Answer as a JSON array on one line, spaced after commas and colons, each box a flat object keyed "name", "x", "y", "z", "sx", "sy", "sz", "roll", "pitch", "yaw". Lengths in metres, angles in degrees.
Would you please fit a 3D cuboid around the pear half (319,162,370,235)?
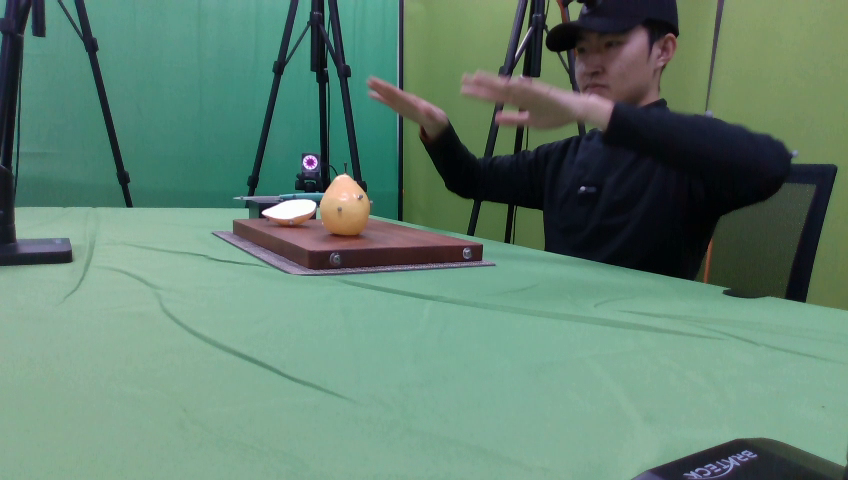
[{"name": "pear half", "x": -0.111, "y": -0.061, "z": 0.894, "sx": 0.055, "sy": 0.110, "sz": 0.077, "roll": 8, "pitch": 13, "yaw": 40}]

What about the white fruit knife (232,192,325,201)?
[{"name": "white fruit knife", "x": -0.302, "y": -0.090, "z": 1.291, "sx": 0.208, "sy": 0.016, "sz": 0.027, "roll": -4, "pitch": -13, "yaw": -27}]

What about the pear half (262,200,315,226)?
[{"name": "pear half", "x": -0.223, "y": -0.041, "z": 1.007, "sx": 0.088, "sy": 0.031, "sz": 0.070, "roll": -11, "pitch": 22, "yaw": 2}]
